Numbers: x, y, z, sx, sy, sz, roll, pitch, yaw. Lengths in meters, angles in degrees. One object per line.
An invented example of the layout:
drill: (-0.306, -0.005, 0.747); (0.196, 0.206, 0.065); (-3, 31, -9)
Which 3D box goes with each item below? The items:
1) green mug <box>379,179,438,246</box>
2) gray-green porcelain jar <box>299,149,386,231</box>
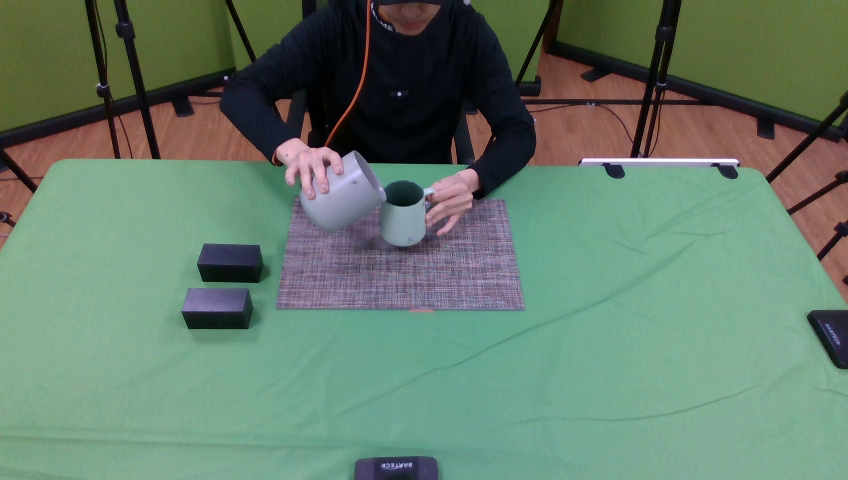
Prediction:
green mug: (-0.027, -0.058, 1.152); (0.125, 0.105, 0.092); (-26, 52, -26)
gray-green porcelain jar: (-0.148, -0.084, 1.072); (0.126, 0.106, 0.105); (-31, 49, 9)
